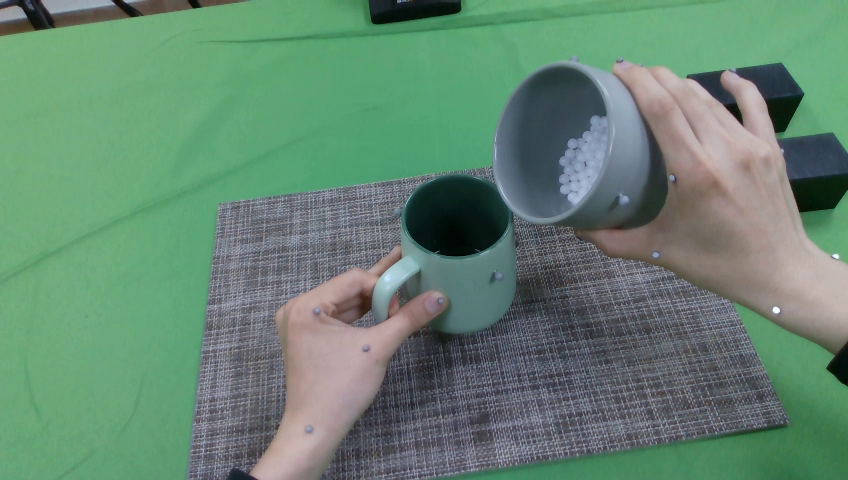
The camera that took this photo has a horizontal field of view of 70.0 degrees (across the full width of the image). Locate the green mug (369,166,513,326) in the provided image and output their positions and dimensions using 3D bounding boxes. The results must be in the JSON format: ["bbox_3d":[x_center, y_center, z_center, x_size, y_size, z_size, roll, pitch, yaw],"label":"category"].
[{"bbox_3d":[0.011,0.017,0.457,0.125,0.106,0.091,-37,61,-20],"label":"green mug"}]

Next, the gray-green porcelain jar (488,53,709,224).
[{"bbox_3d":[0.126,-0.065,0.426,0.127,0.106,0.104,2,45,-36],"label":"gray-green porcelain jar"}]
